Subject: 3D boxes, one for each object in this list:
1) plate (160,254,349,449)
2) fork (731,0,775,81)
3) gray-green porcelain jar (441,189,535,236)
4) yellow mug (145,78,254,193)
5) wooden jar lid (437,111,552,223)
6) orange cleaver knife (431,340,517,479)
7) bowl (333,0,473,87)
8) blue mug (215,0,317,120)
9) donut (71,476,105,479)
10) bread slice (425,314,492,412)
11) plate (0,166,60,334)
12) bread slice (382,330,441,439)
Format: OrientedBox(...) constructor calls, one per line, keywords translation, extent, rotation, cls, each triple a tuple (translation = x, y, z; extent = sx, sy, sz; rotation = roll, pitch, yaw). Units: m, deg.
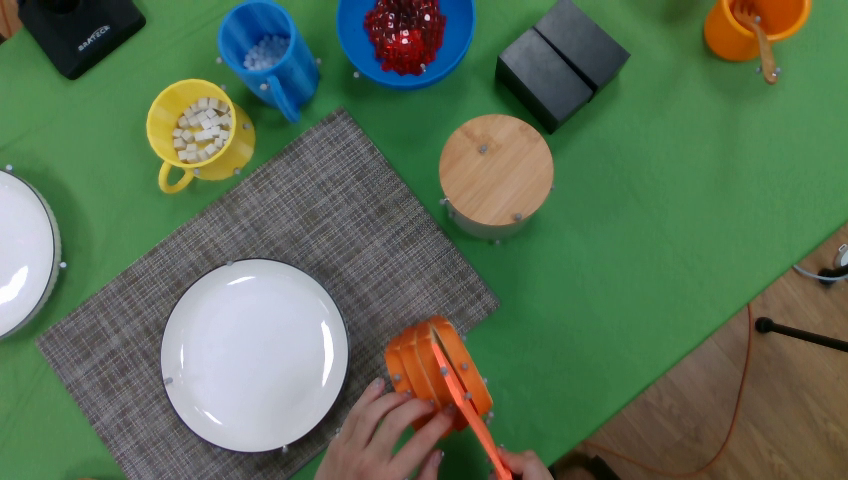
OrientedBox(translation=(-0.183, 0.121, 0.670), extent=(0.209, 0.038, 0.208), rotation=(0, 84, 3), cls="plate")
OrientedBox(translation=(0.342, -0.215, 0.627), extent=(0.028, 0.019, 0.206), rotation=(23, 42, -1), cls="fork")
OrientedBox(translation=(0.070, -0.061, 0.636), extent=(0.106, 0.127, 0.105), rotation=(0, 83, 3), cls="gray-green porcelain jar")
OrientedBox(translation=(-0.260, -0.111, 0.687), extent=(0.100, 0.064, 0.130), rotation=(29, 87, 6), cls="yellow mug")
OrientedBox(translation=(0.066, -0.068, 0.574), extent=(0.108, 0.021, 0.108), rotation=(0, 84, 0), cls="wooden jar lid")
OrientedBox(translation=(0.057, 0.180, 0.563), extent=(0.012, 0.076, 0.213), rotation=(-28, 116, 1), cls="orange cleaver knife")
OrientedBox(translation=(-0.021, -0.235, 0.683), extent=(0.151, 0.077, 0.151), rotation=(0, 84, 3), cls="bowl")
OrientedBox(translation=(-0.167, -0.189, 0.672), extent=(0.082, 0.106, 0.116), rotation=(-19, 83, 1), cls="blue mug")
OrientedBox(translation=(-0.372, 0.308, 0.661), extent=(0.099, 0.048, 0.098), rotation=(0, 83, 1), cls="donut")
OrientedBox(translation=(0.036, 0.123, 0.615), extent=(0.019, 0.131, 0.105), rotation=(-29, 88, -6), cls="bread slice")
OrientedBox(translation=(-0.518, 0.014, 0.701), extent=(0.207, 0.039, 0.207), rotation=(0, 84, 2), cls="plate")
OrientedBox(translation=(-0.012, 0.144, 0.617), extent=(0.018, 0.134, 0.106), rotation=(-27, 83, 1), cls="bread slice")
